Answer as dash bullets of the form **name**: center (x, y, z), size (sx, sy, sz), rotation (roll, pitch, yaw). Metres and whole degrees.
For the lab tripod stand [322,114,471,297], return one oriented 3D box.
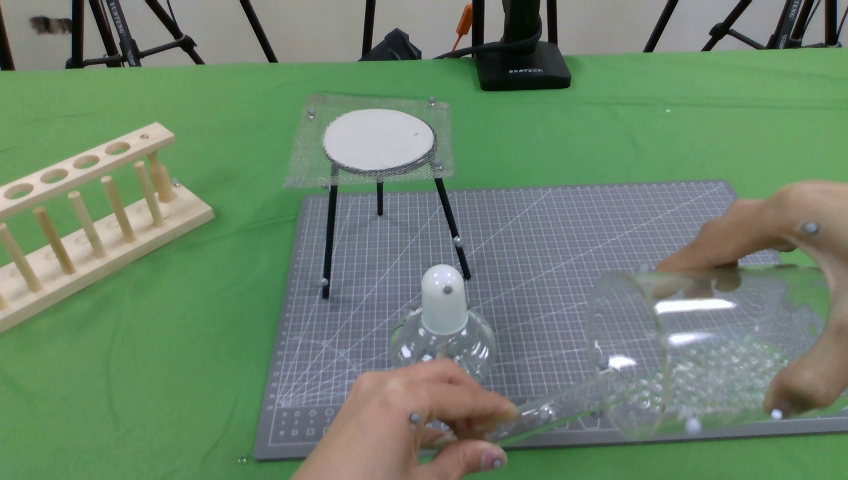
- **lab tripod stand**: center (-0.028, -0.028, 0.515), size (0.148, 0.132, 0.147), rotation (1, 41, 0)

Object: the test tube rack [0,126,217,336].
- **test tube rack**: center (-0.316, -0.007, 0.536), size (0.066, 0.086, 0.242), rotation (32, 51, 32)

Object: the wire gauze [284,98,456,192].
- **wire gauze**: center (-0.038, -0.077, 0.468), size (0.121, 0.011, 0.124), rotation (0, 42, 0)

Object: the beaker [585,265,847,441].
- **beaker**: center (0.134, 0.051, 0.276), size (0.100, 0.084, 0.073), rotation (-2, 45, -9)

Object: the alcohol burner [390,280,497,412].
- **alcohol burner**: center (0.014, 0.066, 0.422), size (0.078, 0.120, 0.077), rotation (0, 43, 0)

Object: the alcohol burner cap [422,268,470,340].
- **alcohol burner cap**: center (0.014, 0.039, 0.398), size (0.034, 0.048, 0.033), rotation (-3, 41, 3)

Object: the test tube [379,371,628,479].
- **test tube**: center (0.035, 0.102, 0.315), size (0.150, 0.017, 0.017), rotation (-31, 34, 25)
